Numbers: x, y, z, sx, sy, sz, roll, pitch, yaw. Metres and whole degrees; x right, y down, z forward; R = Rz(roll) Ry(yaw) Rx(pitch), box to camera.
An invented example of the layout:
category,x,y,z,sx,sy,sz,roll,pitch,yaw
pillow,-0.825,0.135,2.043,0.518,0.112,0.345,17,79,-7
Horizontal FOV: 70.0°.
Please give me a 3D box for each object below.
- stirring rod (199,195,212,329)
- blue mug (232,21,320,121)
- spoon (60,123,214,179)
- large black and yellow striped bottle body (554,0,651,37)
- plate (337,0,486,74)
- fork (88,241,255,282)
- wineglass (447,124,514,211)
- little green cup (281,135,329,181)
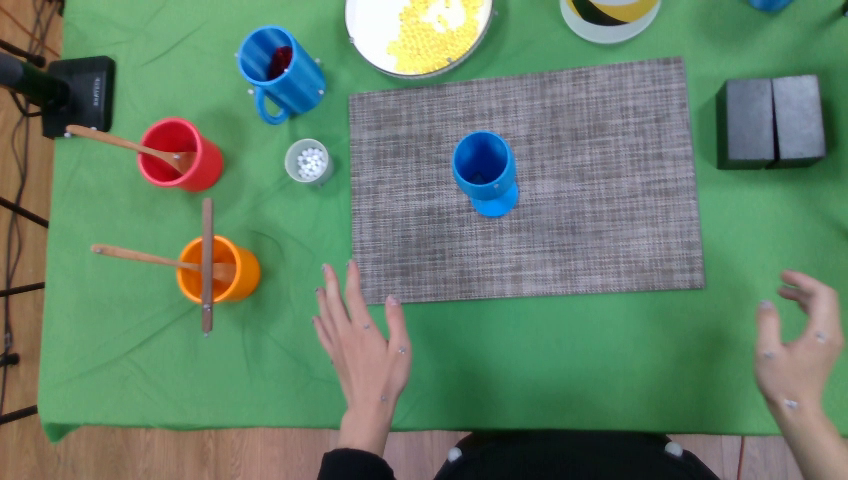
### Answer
category,x,y,z,sx,sy,sz,roll,pitch,yaw
stirring rod,-0.285,0.027,0.788,0.014,0.006,0.175,-5,83,11
blue mug,-0.205,-0.220,0.828,0.082,0.106,0.116,16,87,12
spoon,-0.388,-0.127,0.831,0.195,0.021,0.041,17,86,-32
large black and yellow striped bottle body,0.221,-0.342,0.723,0.130,0.185,0.130,-1,83,11
plate,-0.017,-0.327,0.840,0.209,0.038,0.208,-1,84,10
fork,-0.326,0.028,0.799,0.209,0.018,0.028,14,91,-32
wineglass,0.072,-0.081,0.721,0.073,0.173,0.073,-1,82,11
little green cup,-0.163,-0.111,0.842,0.061,0.039,0.061,-1,84,11
